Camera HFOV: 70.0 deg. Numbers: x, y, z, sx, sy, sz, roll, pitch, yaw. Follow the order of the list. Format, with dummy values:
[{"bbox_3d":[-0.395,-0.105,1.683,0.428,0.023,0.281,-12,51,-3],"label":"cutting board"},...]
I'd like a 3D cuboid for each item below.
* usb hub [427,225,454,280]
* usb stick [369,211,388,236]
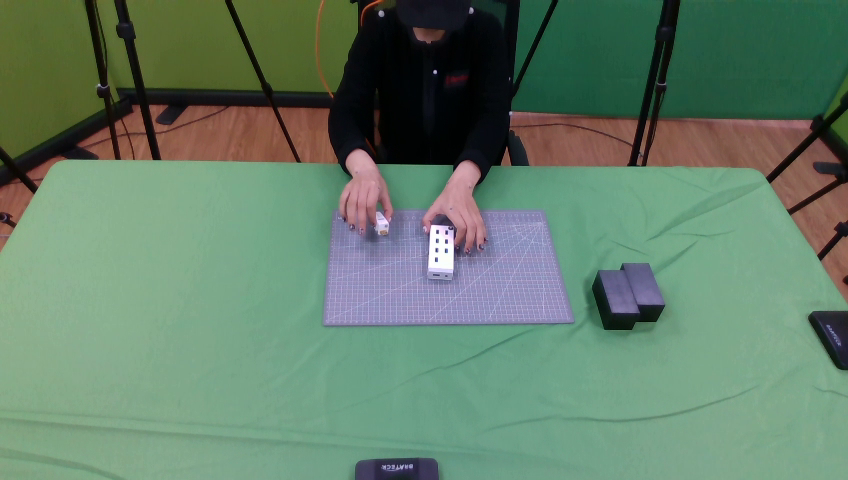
[{"bbox_3d":[0.033,0.022,1.174,0.049,0.025,0.124,5,46,-1],"label":"usb hub"},{"bbox_3d":[-0.086,-0.030,1.179,0.021,0.027,0.059,-9,41,-26],"label":"usb stick"}]
